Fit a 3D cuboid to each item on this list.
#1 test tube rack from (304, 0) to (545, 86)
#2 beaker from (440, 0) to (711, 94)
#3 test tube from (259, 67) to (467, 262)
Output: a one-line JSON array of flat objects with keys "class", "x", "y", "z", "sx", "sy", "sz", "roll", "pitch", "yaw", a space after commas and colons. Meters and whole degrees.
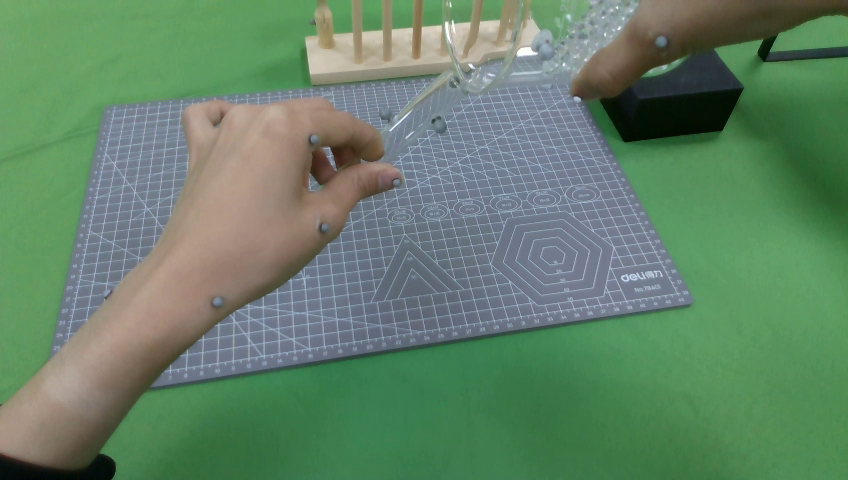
[{"class": "test tube rack", "x": 0.001, "y": -0.219, "z": 0.602, "sx": 0.243, "sy": 0.086, "sz": 0.066, "roll": -8, "pitch": 52, "yaw": -8}, {"class": "beaker", "x": 0.066, "y": -0.104, "z": 0.269, "sx": 0.100, "sy": 0.084, "sz": 0.073, "roll": -9, "pitch": 56, "yaw": -18}, {"class": "test tube", "x": -0.037, "y": -0.034, "z": 0.314, "sx": 0.150, "sy": 0.017, "sz": 0.017, "roll": -38, "pitch": 48, "yaw": 24}]
